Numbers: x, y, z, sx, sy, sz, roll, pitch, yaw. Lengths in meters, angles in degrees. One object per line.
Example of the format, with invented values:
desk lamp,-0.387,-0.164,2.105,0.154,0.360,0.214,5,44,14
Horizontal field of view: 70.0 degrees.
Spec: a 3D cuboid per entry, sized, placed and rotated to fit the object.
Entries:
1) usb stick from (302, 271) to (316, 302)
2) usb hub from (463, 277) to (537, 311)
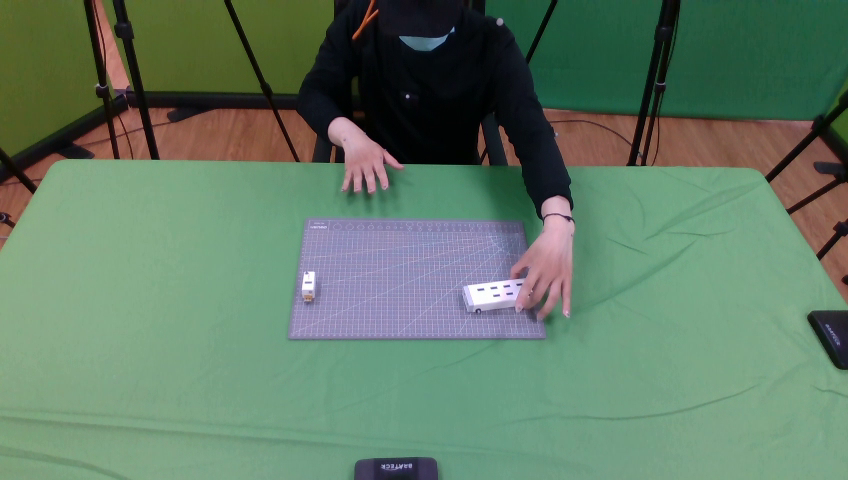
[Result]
usb stick,-0.207,0.085,1.092,0.021,0.027,0.059,1,49,-5
usb hub,0.138,0.099,1.101,0.125,0.025,0.049,-7,47,-9
